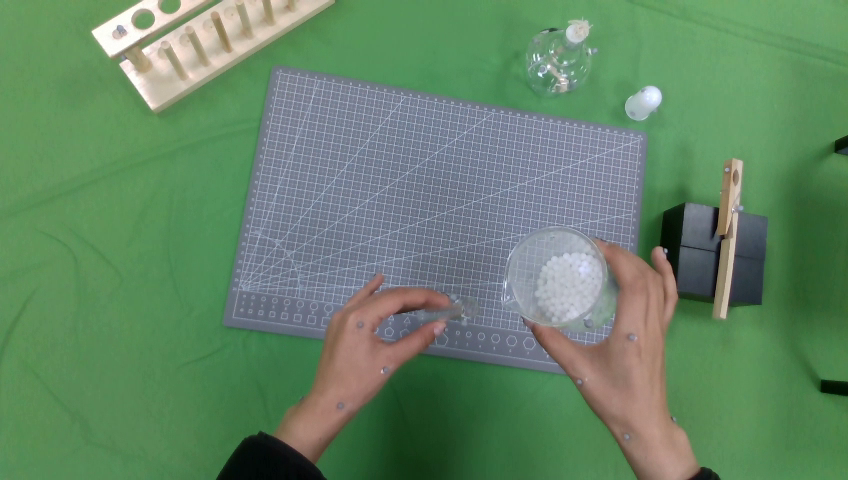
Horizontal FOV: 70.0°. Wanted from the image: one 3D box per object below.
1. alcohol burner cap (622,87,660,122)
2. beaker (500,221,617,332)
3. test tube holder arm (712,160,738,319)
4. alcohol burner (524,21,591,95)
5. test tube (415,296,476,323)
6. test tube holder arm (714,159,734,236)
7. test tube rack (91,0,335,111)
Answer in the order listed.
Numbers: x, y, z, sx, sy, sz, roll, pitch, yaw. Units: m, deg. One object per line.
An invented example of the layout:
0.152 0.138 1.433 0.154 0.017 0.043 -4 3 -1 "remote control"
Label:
0.261 -0.163 0.721 0.034 0.048 0.033 1 81 -6 "alcohol burner cap"
0.109 0.036 0.477 0.084 0.101 0.073 -31 68 15 "beaker"
0.334 -0.001 0.670 0.013 0.015 0.178 9 82 -13 "test tube holder arm"
0.155 -0.210 0.679 0.078 0.119 0.077 1 80 -8 "alcohol burner"
0.015 0.062 0.528 0.017 0.150 0.017 2 80 -14 "test tube"
0.334 -0.046 0.675 0.010 0.015 0.087 10 82 -12 "test tube holder arm"
-0.216 -0.244 0.654 0.242 0.085 0.066 -36 86 -10 "test tube rack"
